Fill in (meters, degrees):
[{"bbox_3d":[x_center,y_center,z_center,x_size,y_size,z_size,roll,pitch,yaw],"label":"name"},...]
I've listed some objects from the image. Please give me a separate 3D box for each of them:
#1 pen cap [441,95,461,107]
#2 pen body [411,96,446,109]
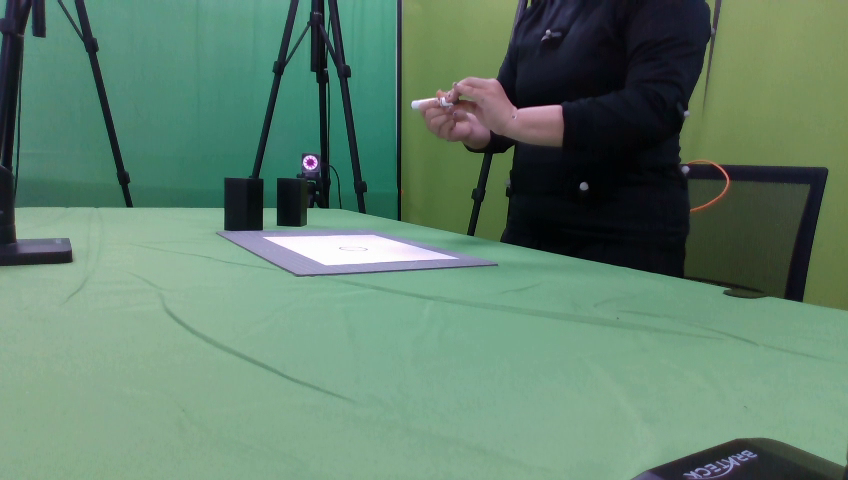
[{"bbox_3d":[0.047,-0.242,1.051,0.017,0.017,0.038,-3,2,-37],"label":"pen cap"},{"bbox_3d":[0.015,-0.250,1.103,0.017,0.017,0.143,-1,7,-29],"label":"pen body"}]
